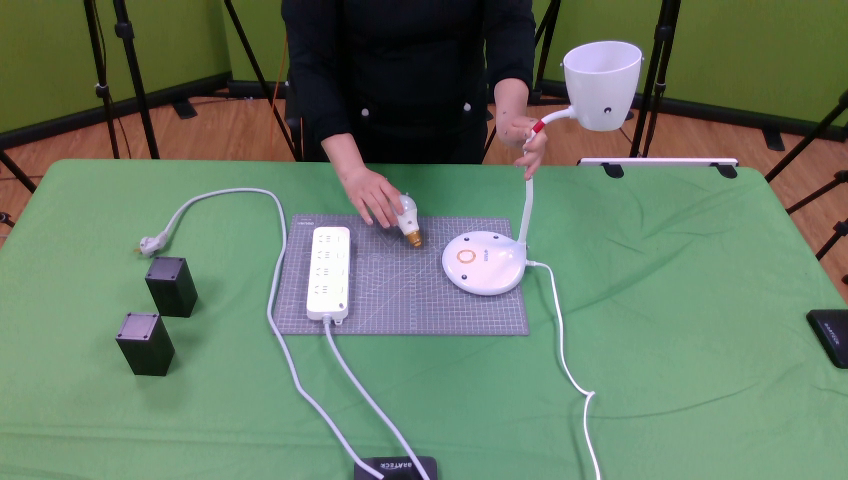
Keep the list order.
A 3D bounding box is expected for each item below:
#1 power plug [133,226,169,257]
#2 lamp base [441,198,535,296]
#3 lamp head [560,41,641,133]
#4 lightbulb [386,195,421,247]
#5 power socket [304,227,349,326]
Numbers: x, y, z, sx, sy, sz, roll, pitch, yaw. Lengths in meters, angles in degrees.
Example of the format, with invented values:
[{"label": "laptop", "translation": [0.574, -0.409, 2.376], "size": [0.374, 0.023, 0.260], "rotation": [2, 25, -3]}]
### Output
[{"label": "power plug", "translation": [-0.516, 0.005, 1.152], "size": [0.052, 0.035, 0.072], "rotation": [-6, 25, 6]}, {"label": "lamp base", "translation": [0.129, -0.012, 1.105], "size": [0.179, 0.181, 0.159], "rotation": [-1, 46, -9]}, {"label": "lamp head", "translation": [0.266, -0.226, 0.925], "size": [0.112, 0.123, 0.111], "rotation": [-4, 38, 3]}, {"label": "lightbulb", "translation": [-0.035, -0.036, 1.181], "size": [0.059, 0.059, 0.107], "rotation": [-24, 86, -25]}, {"label": "power socket", "translation": [-0.177, 0.058, 1.116], "size": [0.072, 0.033, 0.225], "rotation": [-1, 46, -4]}]
